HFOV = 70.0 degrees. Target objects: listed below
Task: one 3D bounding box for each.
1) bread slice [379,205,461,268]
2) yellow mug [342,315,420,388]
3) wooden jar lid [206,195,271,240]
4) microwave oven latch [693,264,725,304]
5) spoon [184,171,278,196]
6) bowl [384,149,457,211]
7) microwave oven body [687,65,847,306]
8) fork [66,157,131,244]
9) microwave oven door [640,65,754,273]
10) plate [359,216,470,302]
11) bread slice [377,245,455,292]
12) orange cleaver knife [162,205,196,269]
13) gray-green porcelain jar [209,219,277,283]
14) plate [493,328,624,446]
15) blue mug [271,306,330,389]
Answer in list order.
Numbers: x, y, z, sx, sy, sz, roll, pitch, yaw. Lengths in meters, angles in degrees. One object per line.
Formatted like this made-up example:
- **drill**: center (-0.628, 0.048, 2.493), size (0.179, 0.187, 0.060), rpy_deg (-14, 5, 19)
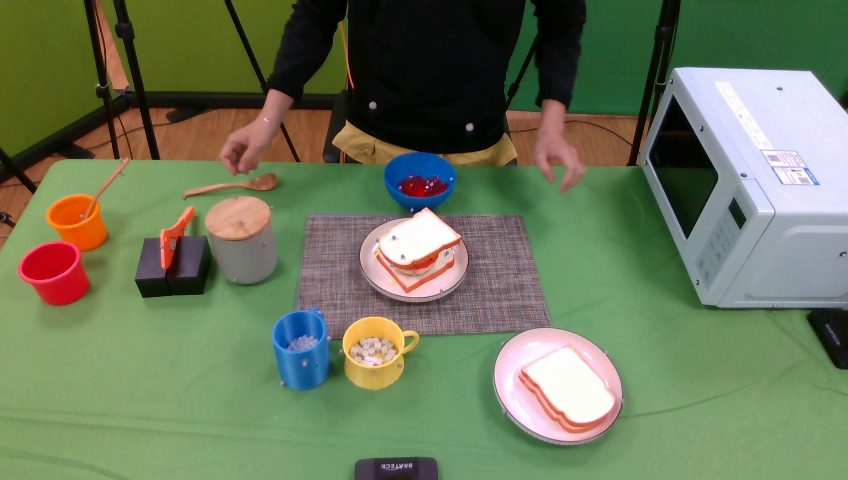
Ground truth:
- **bread slice**: center (-0.013, -0.002, 1.097), size (0.134, 0.018, 0.106), rpy_deg (-34, 50, -22)
- **yellow mug**: center (-0.068, 0.177, 0.990), size (0.131, 0.064, 0.099), rpy_deg (-16, 50, -19)
- **wooden jar lid**: center (-0.319, -0.036, 1.046), size (0.108, 0.021, 0.107), rpy_deg (1, 44, 0)
- **microwave oven latch**: center (0.523, 0.081, 1.116), size (0.030, 0.029, 0.078), rpy_deg (2, 46, -1)
- **spoon**: center (-0.405, -0.117, 1.275), size (0.194, 0.022, 0.041), rpy_deg (-8, 66, -12)
- **bowl**: center (-0.009, -0.112, 1.262), size (0.151, 0.077, 0.150), rpy_deg (2, 46, -2)
- **microwave oven body**: center (0.669, -0.111, 1.176), size (0.326, 0.261, 0.439), rpy_deg (0, 46, -3)
- **fork**: center (-0.608, -0.074, 1.132), size (0.207, 0.019, 0.028), rpy_deg (-52, 48, 10)
- **microwave oven door**: center (0.523, -0.147, 1.193), size (0.039, 0.245, 0.353), rpy_deg (0, 47, -3)
- **plate**: center (-0.019, 0.038, 1.140), size (0.209, 0.038, 0.208), rpy_deg (2, 46, -2)
- **bread slice**: center (-0.009, 0.033, 1.149), size (0.131, 0.019, 0.104), rpy_deg (-28, 55, -25)
- **orange cleaver knife**: center (-0.454, -0.010, 1.129), size (0.012, 0.077, 0.210), rpy_deg (-1, 20, -5)
- **gray-green porcelain jar**: center (-0.323, 0.007, 1.092), size (0.106, 0.127, 0.105), rpy_deg (2, 46, -2)
- **plate**: center (0.213, 0.236, 0.974), size (0.208, 0.039, 0.206), rpy_deg (2, 46, -2)
- **blue mug**: center (-0.188, 0.163, 0.969), size (0.082, 0.106, 0.116), rpy_deg (15, 47, 10)
